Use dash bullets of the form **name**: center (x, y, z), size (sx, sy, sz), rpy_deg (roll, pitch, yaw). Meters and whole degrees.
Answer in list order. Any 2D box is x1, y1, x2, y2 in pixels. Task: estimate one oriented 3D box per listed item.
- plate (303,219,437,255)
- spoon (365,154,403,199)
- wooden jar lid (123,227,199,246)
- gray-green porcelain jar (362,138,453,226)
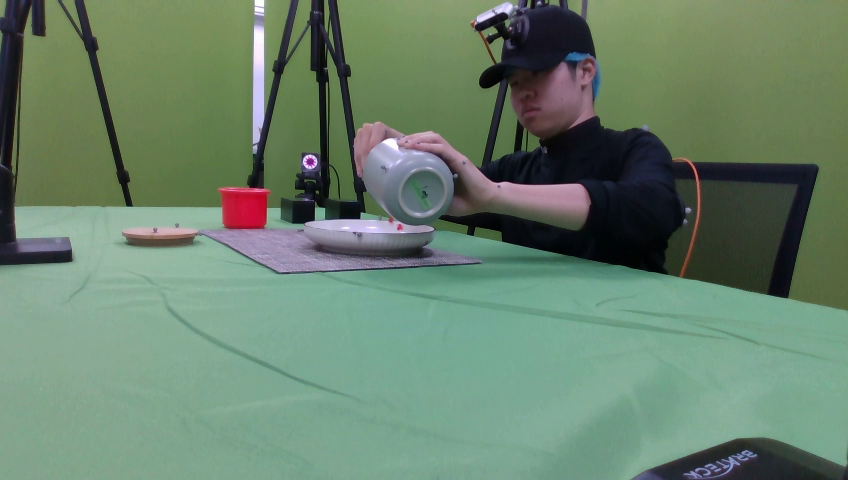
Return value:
- **plate**: center (-0.084, -0.005, 0.952), size (0.208, 0.039, 0.207), rpy_deg (3, 7, 0)
- **spoon**: center (-0.074, -0.107, 0.987), size (0.042, 0.021, 0.193), rpy_deg (4, 21, -21)
- **wooden jar lid**: center (-0.408, -0.006, 0.942), size (0.108, 0.020, 0.108), rpy_deg (3, 6, 0)
- **gray-green porcelain jar**: center (-0.023, -0.083, 0.861), size (0.106, 0.106, 0.126), rpy_deg (0, 19, -21)
